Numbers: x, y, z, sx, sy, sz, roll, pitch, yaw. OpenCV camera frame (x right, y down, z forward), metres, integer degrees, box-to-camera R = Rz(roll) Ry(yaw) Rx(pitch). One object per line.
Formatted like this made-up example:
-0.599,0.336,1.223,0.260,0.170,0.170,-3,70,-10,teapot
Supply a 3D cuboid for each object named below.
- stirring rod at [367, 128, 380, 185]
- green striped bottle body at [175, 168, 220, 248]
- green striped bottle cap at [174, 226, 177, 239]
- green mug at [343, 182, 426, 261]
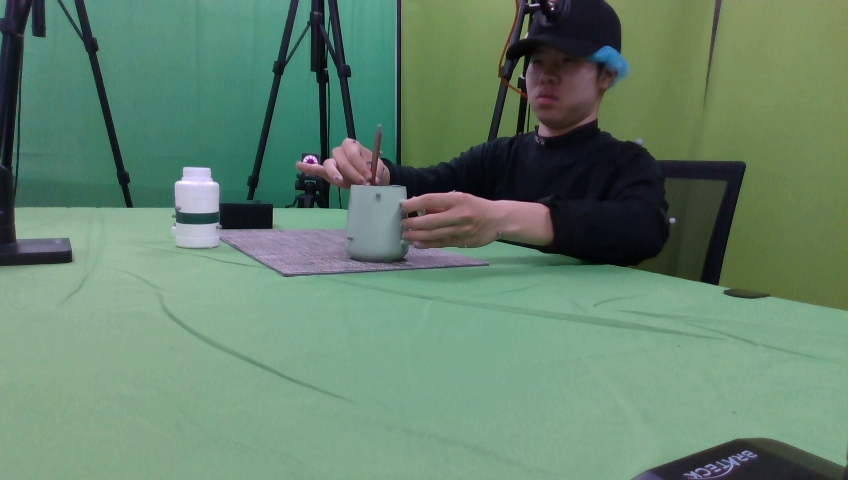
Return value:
-0.077,-0.071,0.860,0.006,0.176,0.014,4,8,-33,stirring rod
-0.345,-0.050,0.924,0.063,0.119,0.063,2,7,0,green striped bottle body
-0.405,-0.015,1.036,0.044,0.020,0.044,-1,10,0,green striped bottle cap
-0.053,-0.026,0.848,0.125,0.105,0.093,6,8,29,green mug
